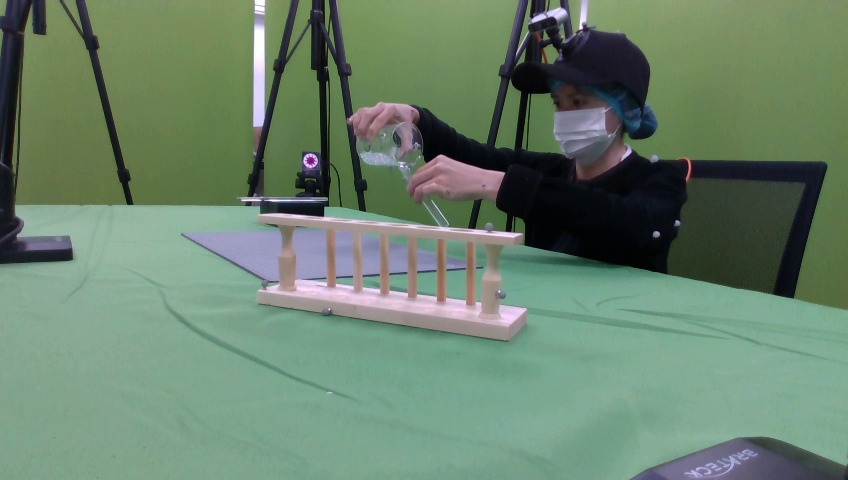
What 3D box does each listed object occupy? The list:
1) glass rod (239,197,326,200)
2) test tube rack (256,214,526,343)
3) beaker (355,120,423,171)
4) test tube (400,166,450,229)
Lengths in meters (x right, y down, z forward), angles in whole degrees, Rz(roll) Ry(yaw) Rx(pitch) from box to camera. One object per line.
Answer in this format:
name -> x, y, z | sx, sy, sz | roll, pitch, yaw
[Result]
glass rod -> -0.288, -0.087, 1.250 | 0.201, 0.008, 0.008 | -4, 10, -42
test tube rack -> -0.032, 0.027, 0.547 | 0.241, 0.085, 0.067 | 5, 7, 22
beaker -> -0.063, -0.160, 1.031 | 0.074, 0.084, 0.100 | 2, 5, -44
test tube -> 0.001, -0.066, 0.963 | 0.017, 0.017, 0.149 | -3, 47, -39
